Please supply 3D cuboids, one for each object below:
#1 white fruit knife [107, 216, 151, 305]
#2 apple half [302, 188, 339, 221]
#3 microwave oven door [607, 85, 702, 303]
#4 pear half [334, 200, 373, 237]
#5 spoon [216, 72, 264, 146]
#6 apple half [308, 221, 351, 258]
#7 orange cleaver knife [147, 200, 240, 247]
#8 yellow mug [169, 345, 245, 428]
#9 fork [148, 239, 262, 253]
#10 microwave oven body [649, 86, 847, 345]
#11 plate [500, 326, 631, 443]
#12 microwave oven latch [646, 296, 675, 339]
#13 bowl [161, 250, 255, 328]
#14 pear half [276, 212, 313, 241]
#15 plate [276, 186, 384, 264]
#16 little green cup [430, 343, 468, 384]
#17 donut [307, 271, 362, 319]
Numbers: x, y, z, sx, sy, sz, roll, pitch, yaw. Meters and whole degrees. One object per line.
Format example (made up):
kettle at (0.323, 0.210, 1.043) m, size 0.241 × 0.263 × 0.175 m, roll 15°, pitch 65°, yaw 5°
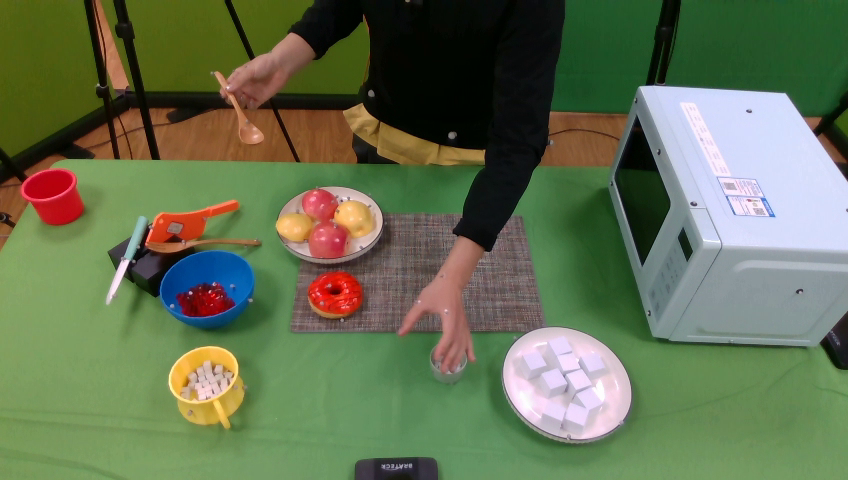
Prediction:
white fruit knife at (-0.519, 0.032, 1.066) m, size 0.027 × 0.016 × 0.206 m, roll -18°, pitch 45°, yaw 19°
apple half at (-0.205, -0.076, 1.217) m, size 0.081 × 0.033 × 0.081 m, roll 17°, pitch 47°, yaw -19°
microwave oven door at (0.423, -0.094, 1.140) m, size 0.039 × 0.245 × 0.353 m, roll 2°, pitch 46°, yaw -1°
pear half at (-0.147, -0.059, 1.209) m, size 0.076 × 0.056 × 0.109 m, roll -17°, pitch 42°, yaw -25°
spoon at (-0.347, -0.246, 1.129) m, size 0.041 × 0.022 × 0.193 m, roll -23°, pitch 70°, yaw -21°
apple half at (-0.180, -0.005, 1.150) m, size 0.074 × 0.053 × 0.080 m, roll 14°, pitch 43°, yaw 9°
orange cleaver knife at (-0.435, -0.033, 1.157) m, size 0.012 × 0.077 × 0.211 m, roll 31°, pitch 26°, yaw 18°
yellow mug at (-0.322, 0.230, 0.922) m, size 0.100 × 0.064 × 0.130 m, roll -24°, pitch 53°, yaw -25°
fork at (-0.398, 0.008, 1.117) m, size 0.208 × 0.019 × 0.028 m, roll -5°, pitch 34°, yaw -37°
microwave oven body at (0.568, -0.053, 1.118) m, size 0.326 × 0.261 × 0.439 m, roll 2°, pitch 45°, yaw -1°
plate at (0.224, 0.234, 0.978) m, size 0.208 × 0.039 × 0.206 m, roll 2°, pitch 46°, yaw -2°
microwave oven latch at (0.412, 0.134, 1.061) m, size 0.030 × 0.029 × 0.078 m, roll 4°, pitch 45°, yaw 1°
bowl at (-0.362, 0.098, 1.040) m, size 0.151 × 0.077 × 0.150 m, roll 2°, pitch 45°, yaw -2°
pear half at (-0.245, -0.035, 1.178) m, size 0.070 × 0.031 × 0.088 m, roll 40°, pitch 41°, yaw 1°
plate at (-0.184, -0.027, 1.195) m, size 0.209 × 0.038 × 0.208 m, roll 2°, pitch 46°, yaw -2°
little green cup at (0.039, 0.203, 0.993) m, size 0.061 × 0.039 × 0.061 m, roll 2°, pitch 47°, yaw -2°
donut at (-0.157, 0.097, 1.072) m, size 0.099 × 0.048 × 0.098 m, roll 4°, pitch 45°, yaw -4°
